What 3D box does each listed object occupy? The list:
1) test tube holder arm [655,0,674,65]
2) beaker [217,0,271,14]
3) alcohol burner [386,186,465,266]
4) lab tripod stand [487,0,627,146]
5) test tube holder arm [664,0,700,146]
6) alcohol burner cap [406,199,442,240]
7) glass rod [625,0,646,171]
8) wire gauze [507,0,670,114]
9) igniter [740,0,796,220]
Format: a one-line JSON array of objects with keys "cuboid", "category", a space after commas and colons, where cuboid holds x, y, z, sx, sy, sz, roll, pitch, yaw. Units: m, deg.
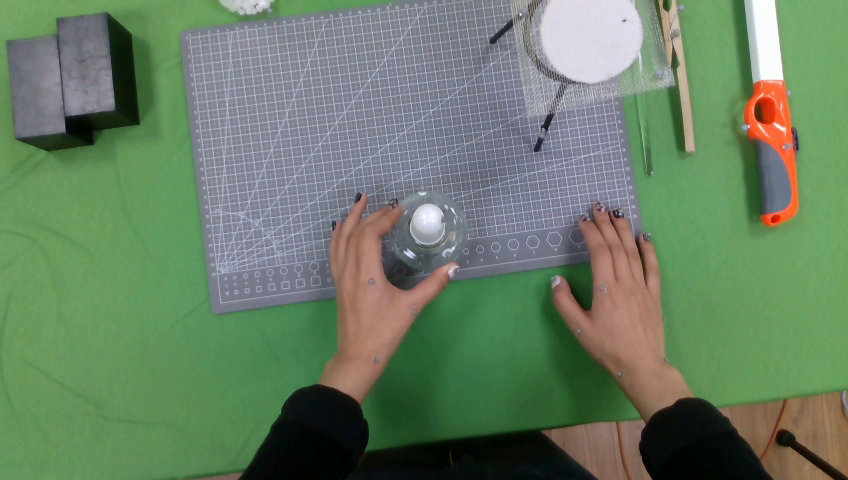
[{"cuboid": [0.254, -0.229, 0.638, 0.010, 0.015, 0.087, -11, 86, 37], "category": "test tube holder arm"}, {"cuboid": [-0.192, -0.277, 0.597, 0.084, 0.100, 0.074, 11, 85, 1], "category": "beaker"}, {"cuboid": [0.001, -0.016, 0.571, 0.078, 0.119, 0.077, 0, 84, 1], "category": "alcohol burner"}, {"cuboid": [0.122, -0.175, 0.572, 0.148, 0.131, 0.148, 0, 87, 2], "category": "lab tripod stand"}, {"cuboid": [0.265, -0.186, 0.631, 0.013, 0.015, 0.178, -14, 84, 36], "category": "test tube holder arm"}, {"cuboid": [0.001, -0.021, 0.536, 0.034, 0.048, 0.033, 1, 78, -3], "category": "alcohol burner cap"}, {"cuboid": [0.223, -0.172, 0.638, 0.008, 0.008, 0.199, -5, 89, -1], "category": "glass rod"}, {"cuboid": [0.133, -0.176, 0.505, 0.121, 0.011, 0.125, -10, 86, 1], "category": "wire gauze"}, {"cuboid": [0.353, -0.158, 0.628, 0.057, 0.025, 0.276, -2, 86, -10], "category": "igniter"}]
